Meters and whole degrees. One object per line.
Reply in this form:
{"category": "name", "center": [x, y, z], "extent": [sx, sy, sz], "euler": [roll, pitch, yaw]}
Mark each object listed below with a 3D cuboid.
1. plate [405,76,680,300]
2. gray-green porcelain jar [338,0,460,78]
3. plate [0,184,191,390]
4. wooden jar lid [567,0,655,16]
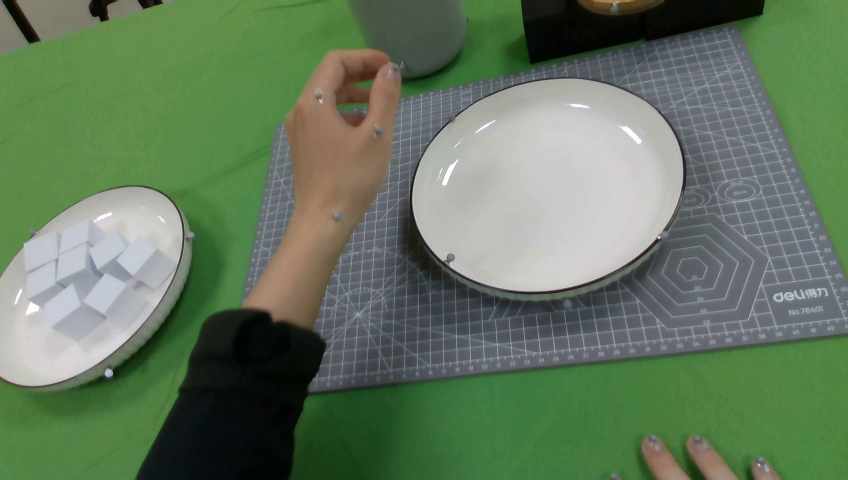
{"category": "plate", "center": [0.088, -0.043, 0.476], "extent": [0.209, 0.038, 0.207], "euler": [-9, 55, 14]}
{"category": "gray-green porcelain jar", "center": [-0.025, -0.232, 0.589], "extent": [0.105, 0.128, 0.105], "euler": [-9, 55, 14]}
{"category": "plate", "center": [-0.305, 0.041, 0.559], "extent": [0.207, 0.039, 0.205], "euler": [-9, 55, 13]}
{"category": "wooden jar lid", "center": [0.169, -0.234, 0.528], "extent": [0.108, 0.021, 0.107], "euler": [-8, 57, 13]}
